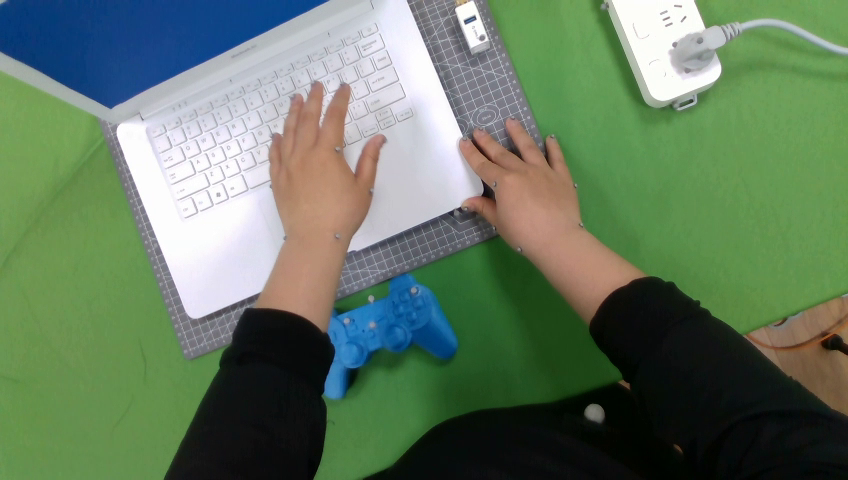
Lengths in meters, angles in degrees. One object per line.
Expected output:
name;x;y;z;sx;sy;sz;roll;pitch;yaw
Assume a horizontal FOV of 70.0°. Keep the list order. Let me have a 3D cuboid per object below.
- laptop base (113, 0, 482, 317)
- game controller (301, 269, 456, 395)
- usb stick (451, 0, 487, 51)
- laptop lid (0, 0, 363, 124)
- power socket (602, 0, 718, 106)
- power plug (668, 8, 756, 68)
laptop base;-0.141;-0.089;0.651;0.354;0.023;0.235;-23;90;7
game controller;-0.053;0.094;0.625;0.155;0.052;0.097;-22;82;7
usb stick;0.044;-0.226;0.617;0.021;0.027;0.059;-23;85;11
laptop lid;-0.212;-0.215;0.541;0.356;0.243;0.013;-24;78;9
power socket;0.214;-0.241;0.591;0.072;0.032;0.226;-21;87;9
power plug;0.266;-0.183;0.564;0.072;0.053;0.035;-10;87;4
